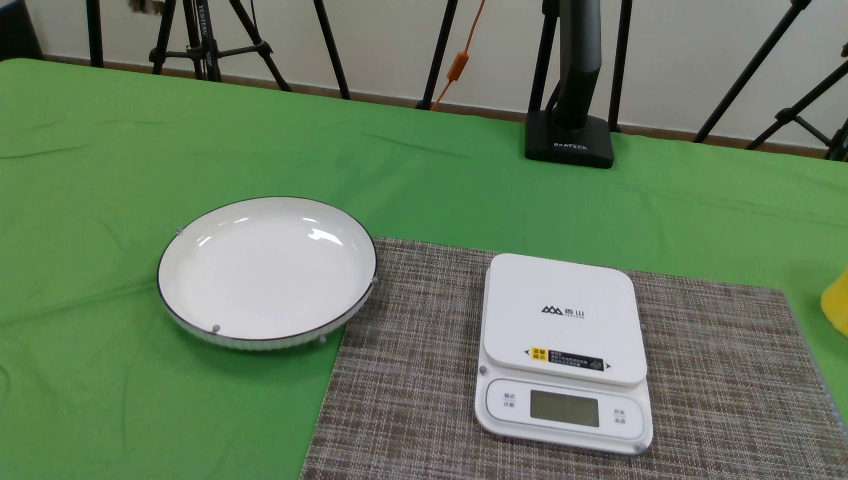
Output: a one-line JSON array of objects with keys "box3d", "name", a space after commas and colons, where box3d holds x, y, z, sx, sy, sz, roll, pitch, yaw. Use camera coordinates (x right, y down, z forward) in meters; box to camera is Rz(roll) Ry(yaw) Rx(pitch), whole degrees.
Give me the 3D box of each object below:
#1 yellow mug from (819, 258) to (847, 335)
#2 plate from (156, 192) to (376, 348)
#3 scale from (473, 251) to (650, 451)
[{"box3d": [0.483, 0.064, 0.611, 0.100, 0.064, 0.129, -25, 50, -29], "name": "yellow mug"}, {"box3d": [-0.153, 0.028, 0.605, 0.209, 0.038, 0.207, 3, 42, -2], "name": "plate"}, {"box3d": [0.125, 0.092, 0.562, 0.148, 0.032, 0.199, 8, 42, 3], "name": "scale"}]
